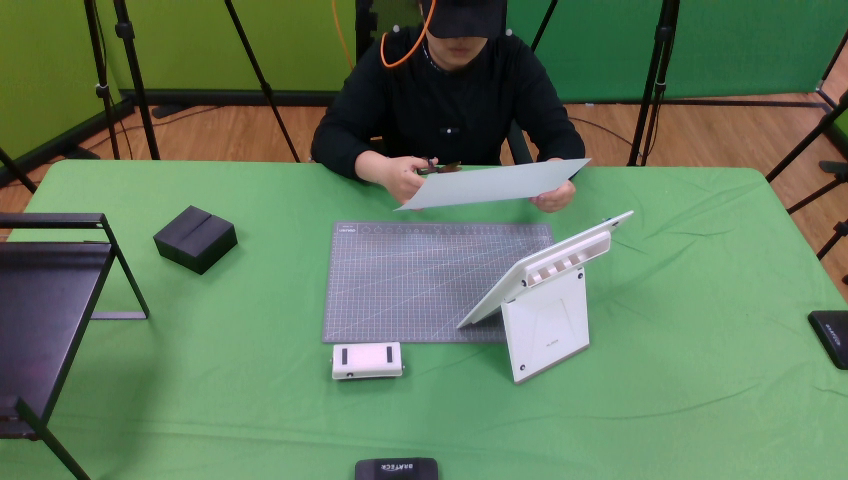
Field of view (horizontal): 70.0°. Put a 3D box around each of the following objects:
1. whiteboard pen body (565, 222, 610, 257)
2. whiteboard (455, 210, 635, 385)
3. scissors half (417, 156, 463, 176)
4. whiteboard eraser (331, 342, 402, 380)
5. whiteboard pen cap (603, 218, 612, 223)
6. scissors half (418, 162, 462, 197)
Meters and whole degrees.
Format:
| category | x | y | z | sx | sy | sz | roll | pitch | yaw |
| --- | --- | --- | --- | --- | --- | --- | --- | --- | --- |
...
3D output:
| category | x | y | z | sx | sy | sz | roll | pitch | yaw |
| --- | --- | --- | --- | --- | --- | --- | --- | --- | --- |
| whiteboard pen body | 0.335 | -0.004 | 1.228 | 0.141 | 0.017 | 0.017 | -33 | 56 | -29 |
| whiteboard | 0.211 | 0.111 | 0.955 | 0.217 | 0.306 | 0.143 | -21 | 71 | -23 |
| scissors half | 0.029 | -0.138 | 1.150 | 0.013 | 0.040 | 0.174 | -3 | 10 | -27 |
| whiteboard eraser | -0.094 | 0.198 | 0.986 | 0.113 | 0.042 | 0.055 | -2 | 44 | -6 |
| whiteboard pen cap | 0.379 | -0.031 | 1.255 | 0.033 | 0.018 | 0.018 | -32 | 56 | -29 |
| scissors half | 0.030 | -0.117 | 1.150 | 0.013 | 0.175 | 0.040 | -9 | 81 | -27 |
